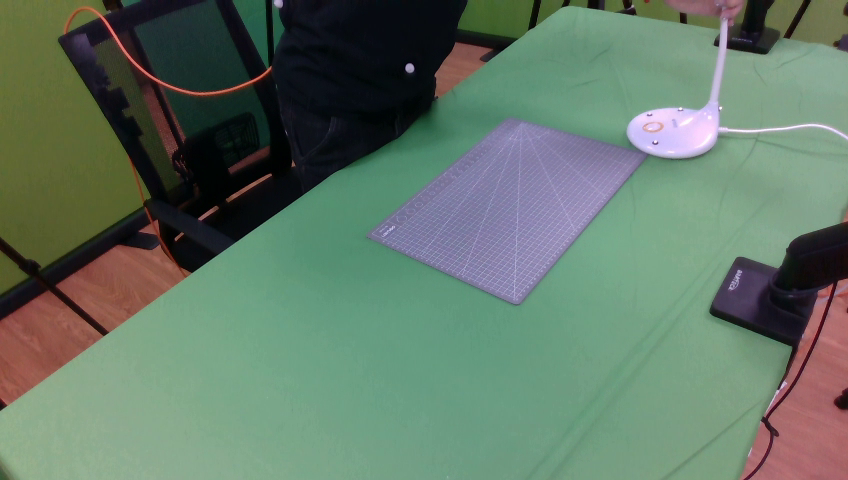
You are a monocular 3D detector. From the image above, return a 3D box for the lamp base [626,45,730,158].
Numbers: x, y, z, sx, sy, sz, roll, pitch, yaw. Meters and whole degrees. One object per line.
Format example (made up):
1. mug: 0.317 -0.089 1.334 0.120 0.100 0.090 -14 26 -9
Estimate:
1. lamp base: 0.468 -0.262 1.086 0.179 0.181 0.159 -4 41 0
